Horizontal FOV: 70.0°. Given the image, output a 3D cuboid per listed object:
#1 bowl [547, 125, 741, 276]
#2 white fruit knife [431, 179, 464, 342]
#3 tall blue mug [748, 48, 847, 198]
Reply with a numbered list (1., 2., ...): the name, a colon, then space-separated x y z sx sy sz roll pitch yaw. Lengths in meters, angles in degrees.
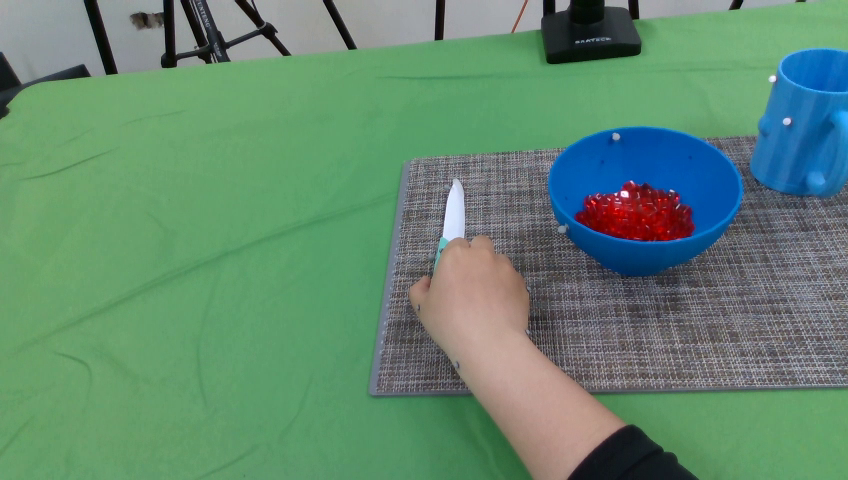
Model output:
1. bowl: 0.181 -0.022 0.519 0.151 0.077 0.150 -6 44 6
2. white fruit knife: 0.024 0.008 0.567 0.027 0.016 0.205 19 43 -11
3. tall blue mug: 0.353 -0.096 0.538 0.078 0.109 0.106 -22 45 -12
